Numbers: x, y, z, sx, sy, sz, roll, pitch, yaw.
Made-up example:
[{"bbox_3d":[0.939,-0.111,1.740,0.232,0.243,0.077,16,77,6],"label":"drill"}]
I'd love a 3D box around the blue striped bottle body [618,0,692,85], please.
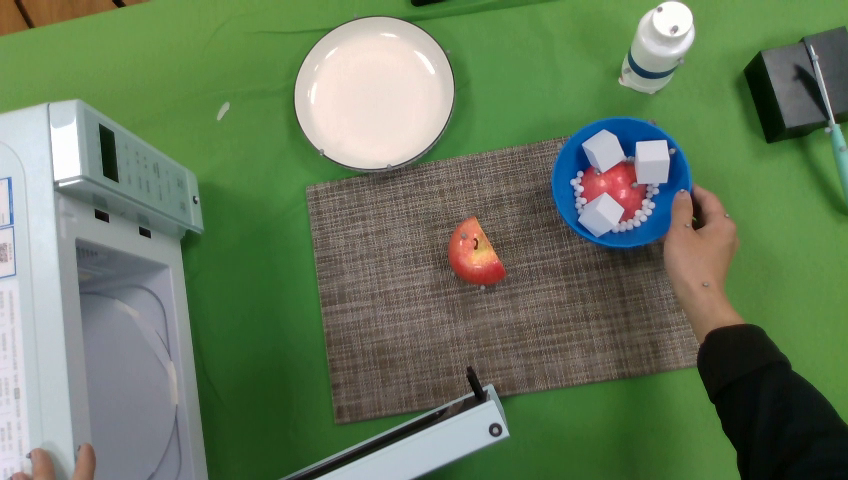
[{"bbox_3d":[0.270,-0.236,0.709,0.063,0.121,0.063,-1,80,6],"label":"blue striped bottle body"}]

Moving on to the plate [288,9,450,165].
[{"bbox_3d":[-0.069,-0.192,0.779,0.207,0.039,0.207,-1,81,5],"label":"plate"}]

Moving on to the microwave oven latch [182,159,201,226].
[{"bbox_3d":[-0.302,-0.060,0.761,0.030,0.029,0.079,-11,80,3],"label":"microwave oven latch"}]

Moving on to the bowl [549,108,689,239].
[{"bbox_3d":[0.219,-0.068,0.704,0.151,0.077,0.151,-1,81,6],"label":"bowl"}]

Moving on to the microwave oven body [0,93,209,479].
[{"bbox_3d":[-0.423,0.125,0.645,0.326,0.261,0.439,-12,80,3],"label":"microwave oven body"}]

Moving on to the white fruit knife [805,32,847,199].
[{"bbox_3d":[0.465,-0.136,0.690,0.016,0.027,0.207,-19,96,20],"label":"white fruit knife"}]

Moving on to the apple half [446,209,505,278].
[{"bbox_3d":[0.055,0.011,0.711,0.053,0.075,0.080,-31,82,4],"label":"apple half"}]

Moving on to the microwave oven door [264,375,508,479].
[{"bbox_3d":[-0.086,0.226,0.589,0.356,0.245,0.039,-25,78,1],"label":"microwave oven door"}]

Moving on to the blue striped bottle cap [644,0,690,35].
[{"bbox_3d":[0.265,-0.246,0.659,0.044,0.021,0.044,-1,83,6],"label":"blue striped bottle cap"}]

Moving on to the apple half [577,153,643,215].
[{"bbox_3d":[0.219,-0.068,0.699,0.081,0.033,0.081,-1,78,6],"label":"apple half"}]
